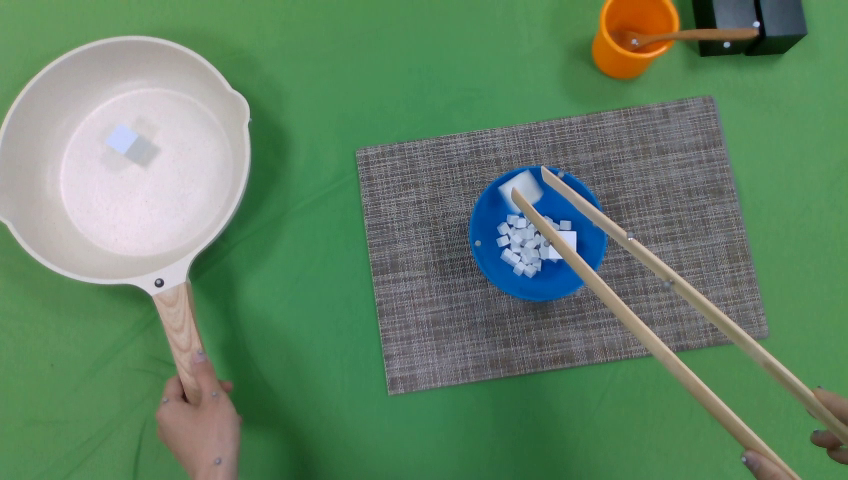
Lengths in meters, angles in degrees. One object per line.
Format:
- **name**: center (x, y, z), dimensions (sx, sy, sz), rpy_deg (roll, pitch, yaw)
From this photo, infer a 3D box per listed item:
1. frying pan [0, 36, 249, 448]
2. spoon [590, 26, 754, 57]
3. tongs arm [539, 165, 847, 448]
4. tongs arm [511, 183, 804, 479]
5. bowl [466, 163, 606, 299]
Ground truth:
- **frying pan**: center (-0.305, 0.000, 0.684), dimensions (0.307, 0.103, 0.484), rpy_deg (-23, 73, -2)
- **spoon**: center (0.275, -0.232, 0.694), dimensions (0.022, 0.192, 0.041), rpy_deg (35, 77, -38)
- **tongs arm**: center (0.213, 0.061, 0.505), dimensions (0.051, 0.027, 0.381), rpy_deg (-37, 58, -12)
- **tongs arm**: center (0.192, 0.074, 0.502), dimensions (0.028, 0.028, 0.383), rpy_deg (-31, 57, -13)
- **bowl**: center (0.121, -0.004, 0.690), dimensions (0.151, 0.077, 0.151), rpy_deg (0, 81, 0)
